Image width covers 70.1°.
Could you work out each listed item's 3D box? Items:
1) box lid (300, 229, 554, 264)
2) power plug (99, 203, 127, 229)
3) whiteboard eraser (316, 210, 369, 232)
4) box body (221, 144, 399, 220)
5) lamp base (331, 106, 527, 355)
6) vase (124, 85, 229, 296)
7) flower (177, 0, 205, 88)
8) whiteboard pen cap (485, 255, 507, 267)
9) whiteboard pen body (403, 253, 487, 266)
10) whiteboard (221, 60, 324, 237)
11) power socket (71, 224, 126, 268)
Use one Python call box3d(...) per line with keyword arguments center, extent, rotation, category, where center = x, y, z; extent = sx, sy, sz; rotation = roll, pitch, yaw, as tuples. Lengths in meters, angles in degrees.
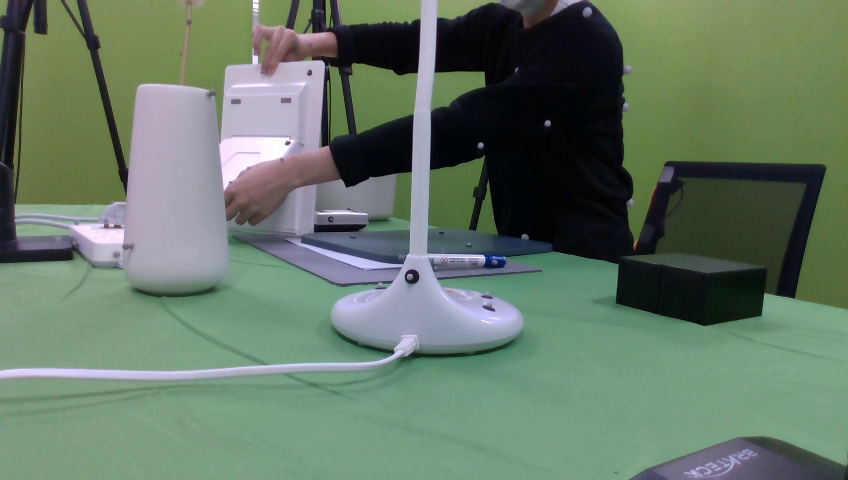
box3d(center=(0.011, 0.006, 0.998), extent=(0.374, 0.015, 0.262), rotation=(-3, 9, -43), category="box lid")
box3d(center=(-0.415, -0.026, 0.848), extent=(0.073, 0.052, 0.035), rotation=(6, 4, -28), category="power plug")
box3d(center=(-0.168, -0.037, 1.172), extent=(0.113, 0.042, 0.055), rotation=(-2, 7, -35), category="whiteboard eraser")
box3d(center=(-0.264, -0.129, 1.380), extent=(0.253, 0.160, 0.366), rotation=(8, 9, 39), category="box body")
box3d(center=(0.006, -0.012, 0.478), extent=(0.161, 0.180, 0.179), rotation=(2, 10, 2), category="lamp base")
box3d(center=(-0.244, -0.047, 0.598), extent=(0.098, 0.200, 0.098), rotation=(3, 8, 0), category="vase")
box3d(center=(-0.243, -0.131, 0.609), extent=(0.044, 0.361, 0.038), rotation=(-5, -12, 11), category="flower")
box3d(center=(0.093, 0.028, 0.809), extent=(0.033, 0.018, 0.018), rotation=(0, 8, -23), category="whiteboard pen cap")
box3d(center=(0.039, 0.026, 0.785), extent=(0.141, 0.017, 0.017), rotation=(2, 7, -24), category="whiteboard pen body")
box3d(center=(-0.304, -0.161, 1.016), extent=(0.216, 0.305, 0.144), rotation=(4, 2, 26), category="whiteboard")
box3d(center=(-0.409, 0.004, 0.793), extent=(0.072, 0.032, 0.225), rotation=(-2, 8, -37), category="power socket")
